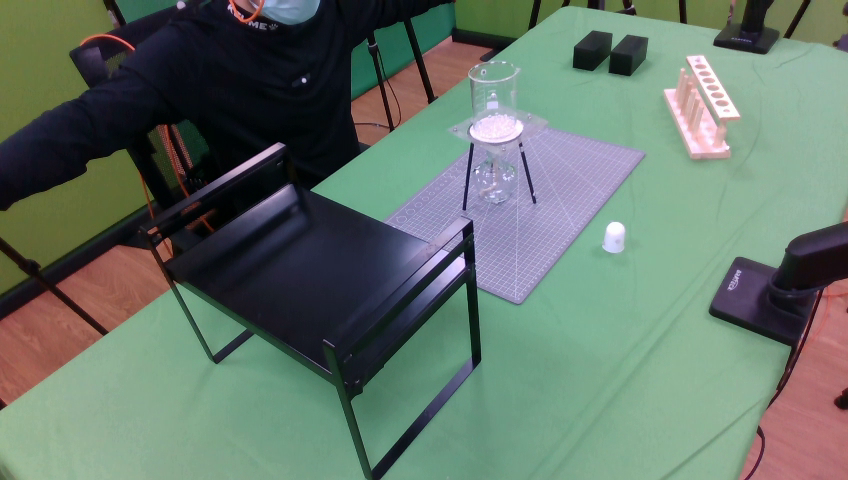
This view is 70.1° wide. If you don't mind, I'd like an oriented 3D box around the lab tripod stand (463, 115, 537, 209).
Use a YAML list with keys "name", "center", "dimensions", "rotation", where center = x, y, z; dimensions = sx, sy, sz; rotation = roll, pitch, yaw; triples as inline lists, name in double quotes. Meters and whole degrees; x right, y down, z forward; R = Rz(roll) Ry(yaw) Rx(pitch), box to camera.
- name: "lab tripod stand"
  center: [0.120, -0.134, 1.018]
  dimensions: [0.148, 0.132, 0.147]
  rotation: [-5, 39, 5]

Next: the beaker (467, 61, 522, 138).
- name: "beaker"
  center: [0.112, -0.217, 0.941]
  dimensions: [0.084, 0.101, 0.073]
  rotation: [-13, 39, -7]

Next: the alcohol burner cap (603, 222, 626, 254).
- name: "alcohol burner cap"
  center: [0.291, -0.006, 0.921]
  dimensions: [0.034, 0.048, 0.033]
  rotation: [-4, 40, 4]

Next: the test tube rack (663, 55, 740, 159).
- name: "test tube rack"
  center: [0.518, -0.256, 1.144]
  dimensions: [0.066, 0.085, 0.241]
  rotation: [-1, 41, 8]

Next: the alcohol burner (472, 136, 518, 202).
- name: "alcohol burner"
  center: [0.121, -0.125, 1.023]
  dimensions: [0.078, 0.119, 0.077]
  rotation: [-3, 41, 3]

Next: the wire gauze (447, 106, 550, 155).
- name: "wire gauze"
  center: [0.119, -0.182, 0.974]
  dimensions: [0.122, 0.011, 0.124]
  rotation: [-32, 42, -29]
